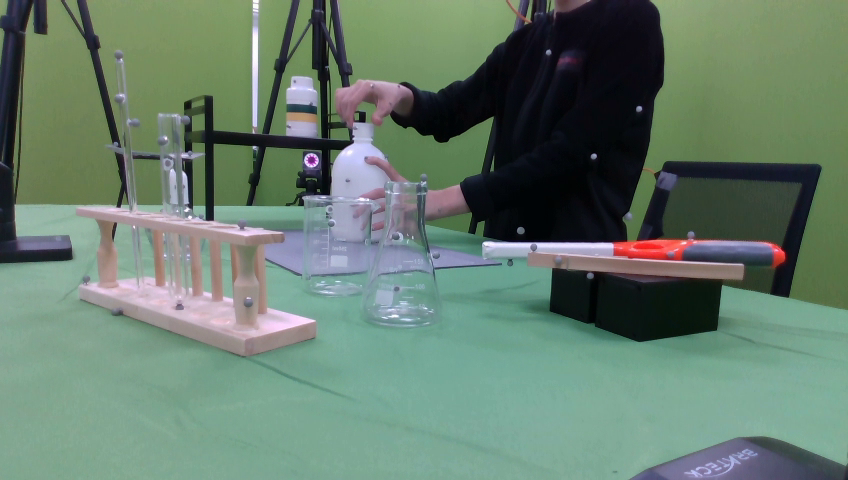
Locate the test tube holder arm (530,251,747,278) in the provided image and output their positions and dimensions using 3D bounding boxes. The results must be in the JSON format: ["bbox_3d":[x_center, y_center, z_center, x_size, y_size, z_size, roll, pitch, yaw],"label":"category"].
[{"bbox_3d":[0.182,0.022,0.523,0.178,0.015,0.013,3,7,12],"label":"test tube holder arm"}]

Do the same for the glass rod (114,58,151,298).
[{"bbox_3d":[-0.236,-0.044,0.492,0.008,0.199,0.008,0,15,0],"label":"glass rod"}]

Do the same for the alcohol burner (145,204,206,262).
[{"bbox_3d":[-0.321,-0.032,0.788,0.078,0.119,0.078,0,7,0],"label":"alcohol burner"}]

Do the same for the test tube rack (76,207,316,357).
[{"bbox_3d":[-0.196,0.023,0.500,0.241,0.085,0.067,8,9,36],"label":"test tube rack"}]

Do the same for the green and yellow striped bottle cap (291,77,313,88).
[{"bbox_3d":[-0.250,-0.321,1.238,0.045,0.020,0.045,3,6,0],"label":"green and yellow striped bottle cap"}]

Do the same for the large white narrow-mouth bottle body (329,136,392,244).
[{"bbox_3d":[-0.106,-0.095,1.027,0.102,0.194,0.102,4,7,0],"label":"large white narrow-mouth bottle body"}]

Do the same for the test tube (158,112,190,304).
[{"bbox_3d":[-0.194,-0.022,0.469,0.017,0.150,0.017,2,12,0],"label":"test tube"}]

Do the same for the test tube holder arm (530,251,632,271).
[{"bbox_3d":[0.139,0.019,0.538,0.087,0.015,0.010,3,7,13],"label":"test tube holder arm"}]

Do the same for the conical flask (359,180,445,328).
[{"bbox_3d":[-0.017,0.010,0.522,0.075,0.122,0.075,2,7,0],"label":"conical flask"}]

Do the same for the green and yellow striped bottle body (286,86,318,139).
[{"bbox_3d":[-0.251,-0.270,1.245,0.063,0.119,0.063,2,7,0],"label":"green and yellow striped bottle body"}]

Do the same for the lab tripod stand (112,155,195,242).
[{"bbox_3d":[-0.405,-0.064,0.931,0.148,0.131,0.148,1,7,0],"label":"lab tripod stand"}]

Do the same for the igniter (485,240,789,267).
[{"bbox_3d":[0.197,0.012,0.585,0.276,0.025,0.057,1,5,12],"label":"igniter"}]

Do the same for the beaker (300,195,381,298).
[{"bbox_3d":[-0.087,0.006,0.626,0.084,0.100,0.074,1,8,-17],"label":"beaker"}]

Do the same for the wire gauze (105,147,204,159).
[{"bbox_3d":[-0.407,-0.131,0.929,0.125,0.011,0.121,2,6,-11],"label":"wire gauze"}]

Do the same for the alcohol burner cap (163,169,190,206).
[{"bbox_3d":[-0.320,-0.067,0.782,0.034,0.048,0.034,1,7,0],"label":"alcohol burner cap"}]

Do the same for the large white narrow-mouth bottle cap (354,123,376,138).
[{"bbox_3d":[-0.098,-0.184,1.016,0.038,0.024,0.037,4,7,0],"label":"large white narrow-mouth bottle cap"}]
